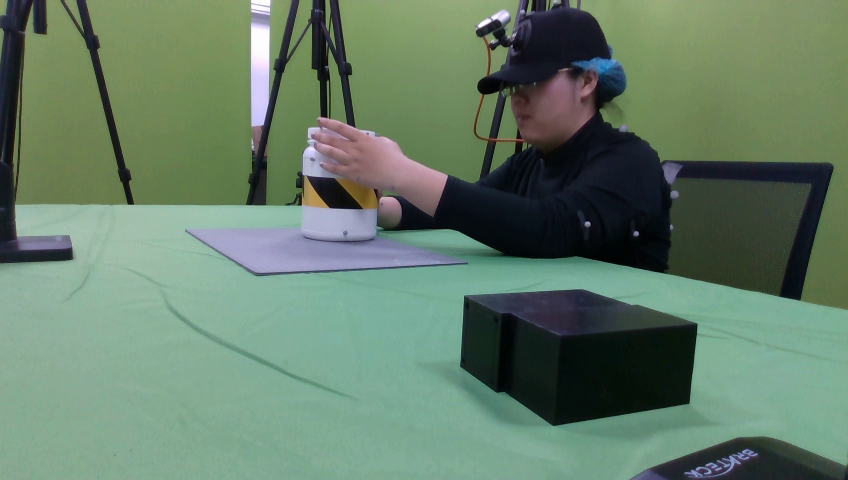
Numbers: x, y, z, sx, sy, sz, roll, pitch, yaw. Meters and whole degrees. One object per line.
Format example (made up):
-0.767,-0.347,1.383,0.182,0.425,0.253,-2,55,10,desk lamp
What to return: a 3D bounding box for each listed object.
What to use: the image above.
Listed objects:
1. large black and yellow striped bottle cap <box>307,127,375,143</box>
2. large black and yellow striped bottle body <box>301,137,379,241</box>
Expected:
-0.141,-0.179,1.034,0.115,0.019,0.115,4,8,0,large black and yellow striped bottle cap
-0.144,-0.095,1.045,0.131,0.184,0.130,3,7,0,large black and yellow striped bottle body
